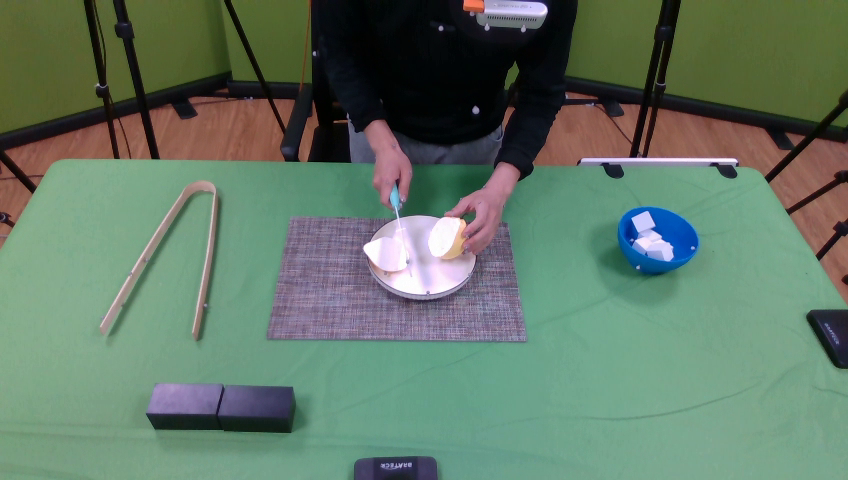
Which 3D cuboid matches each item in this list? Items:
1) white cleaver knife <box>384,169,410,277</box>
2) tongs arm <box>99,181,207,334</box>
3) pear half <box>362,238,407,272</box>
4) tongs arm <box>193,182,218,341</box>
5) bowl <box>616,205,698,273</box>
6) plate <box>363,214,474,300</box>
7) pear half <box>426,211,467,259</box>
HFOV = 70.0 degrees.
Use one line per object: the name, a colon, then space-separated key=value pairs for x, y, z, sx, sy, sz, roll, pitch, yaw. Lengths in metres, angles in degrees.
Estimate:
white cleaver knife: x=-0.052 y=-0.039 z=1.147 sx=0.021 sy=0.066 sz=0.284 roll=-11 pitch=41 yaw=0
tongs arm: x=-0.494 y=0.018 z=1.132 sx=0.051 sy=0.026 sz=0.382 roll=7 pitch=45 yaw=-1
pear half: x=-0.077 y=0.032 z=1.137 sx=0.088 sy=0.031 sz=0.070 roll=17 pitch=46 yaw=-12
tongs arm: x=-0.413 y=0.025 z=1.140 sx=0.028 sy=0.028 sz=0.385 roll=-5 pitch=47 yaw=-7
bowl: x=0.443 y=0.010 z=1.182 sx=0.151 sy=0.077 sz=0.150 roll=2 pitch=46 yaw=-2
plate: x=-0.010 y=0.036 z=1.146 sx=0.208 sy=0.039 sz=0.206 roll=2 pitch=46 yaw=-2
pear half: x=0.057 y=-0.014 z=1.117 sx=0.056 sy=0.110 sz=0.076 roll=3 pitch=51 yaw=-40
